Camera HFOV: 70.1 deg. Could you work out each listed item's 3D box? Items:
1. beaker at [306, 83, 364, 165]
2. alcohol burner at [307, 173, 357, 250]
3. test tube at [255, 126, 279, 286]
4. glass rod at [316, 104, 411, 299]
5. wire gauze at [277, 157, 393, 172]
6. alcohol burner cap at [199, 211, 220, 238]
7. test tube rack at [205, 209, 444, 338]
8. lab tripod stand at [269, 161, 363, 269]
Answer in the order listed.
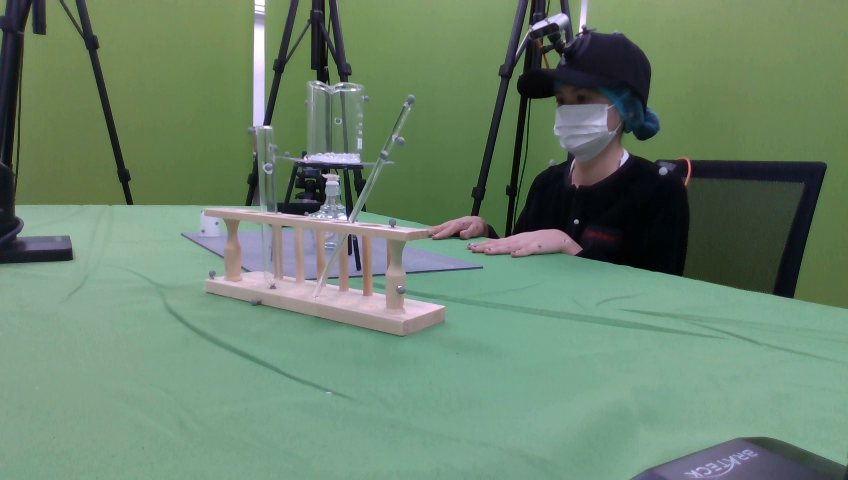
[{"bbox_3d":[-0.115,-0.147,0.775,0.074,0.100,0.084,2,8,-2],"label":"beaker"},{"bbox_3d":[-0.144,-0.045,0.940,0.078,0.119,0.078,1,8,0],"label":"alcohol burner"},{"bbox_3d":[-0.147,-0.031,0.566,0.017,0.150,0.017,-1,8,0],"label":"test tube"},{"bbox_3d":[-0.054,-0.026,0.517,0.008,0.199,0.008,23,24,-11],"label":"glass rod"},{"bbox_3d":[-0.122,-0.100,0.786,0.122,0.011,0.124,-5,14,-38],"label":"wire gauze"},{"bbox_3d":[-0.355,-0.027,1.002,0.034,0.048,0.034,2,7,0],"label":"alcohol burner cap"},{"bbox_3d":[-0.100,0.021,0.565,0.241,0.085,0.067,7,9,32],"label":"test tube rack"},{"bbox_3d":[-0.125,-0.036,0.794,0.148,0.131,0.148,5,7,0],"label":"lab tripod stand"}]
